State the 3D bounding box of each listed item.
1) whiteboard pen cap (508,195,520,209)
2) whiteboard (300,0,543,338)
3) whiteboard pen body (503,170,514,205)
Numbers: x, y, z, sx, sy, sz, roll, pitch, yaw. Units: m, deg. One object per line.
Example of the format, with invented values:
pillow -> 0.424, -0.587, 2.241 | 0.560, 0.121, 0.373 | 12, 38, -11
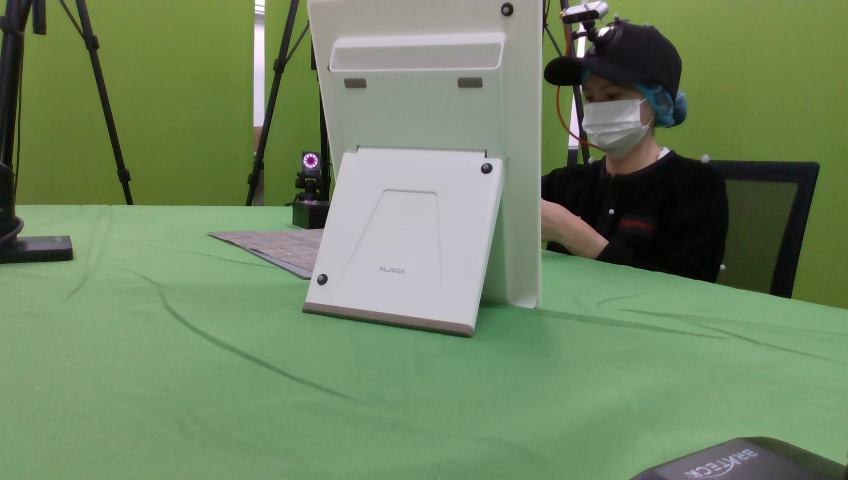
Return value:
whiteboard pen cap -> 0.153, -0.065, 1.025 | 0.018, 0.018, 0.033 | 2, 18, -1
whiteboard -> -0.020, -0.050, 0.523 | 0.216, 0.305, 0.144 | 6, 27, 22
whiteboard pen body -> 0.152, -0.093, 1.081 | 0.017, 0.017, 0.140 | 3, 29, 3
